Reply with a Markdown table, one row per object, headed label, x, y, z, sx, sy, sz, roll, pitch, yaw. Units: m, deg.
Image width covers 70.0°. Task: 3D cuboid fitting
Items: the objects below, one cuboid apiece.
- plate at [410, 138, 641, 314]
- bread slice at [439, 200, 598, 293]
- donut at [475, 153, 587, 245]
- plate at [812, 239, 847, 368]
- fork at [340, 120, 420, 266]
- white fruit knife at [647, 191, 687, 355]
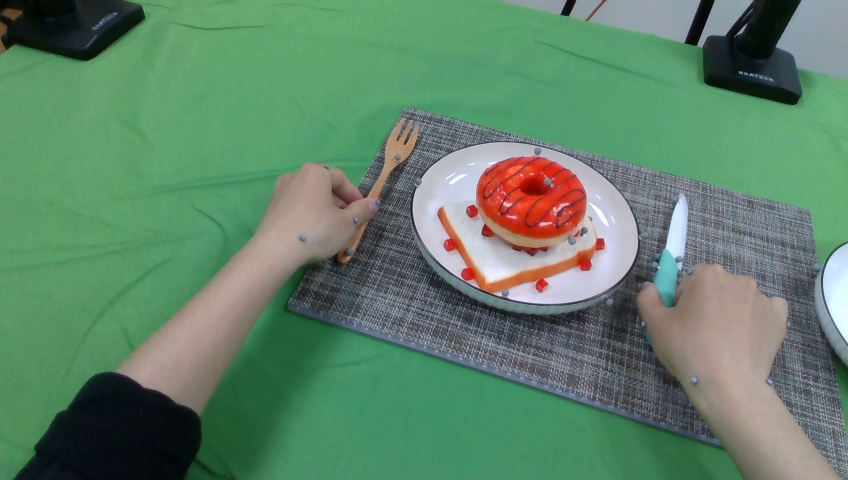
| label | x | y | z | sx | sy | sz | roll | pitch | yaw |
| --- | --- | --- | --- | --- | --- | --- | --- | --- | --- |
| plate | 0.090 | -0.015 | 0.558 | 0.209 | 0.038 | 0.207 | 3 | 49 | -3 |
| bread slice | 0.091 | -0.010 | 0.557 | 0.132 | 0.019 | 0.103 | -16 | 53 | -19 |
| donut | 0.094 | -0.037 | 0.531 | 0.099 | 0.048 | 0.098 | 3 | 48 | -3 |
| plate | 0.436 | 0.083 | 0.517 | 0.208 | 0.039 | 0.205 | 3 | 48 | -3 |
| fork | -0.041 | -0.054 | 0.592 | 0.028 | 0.019 | 0.206 | 8 | 46 | 15 |
| white fruit knife | 0.229 | 0.018 | 0.562 | 0.027 | 0.016 | 0.206 | 39 | 48 | -11 |
